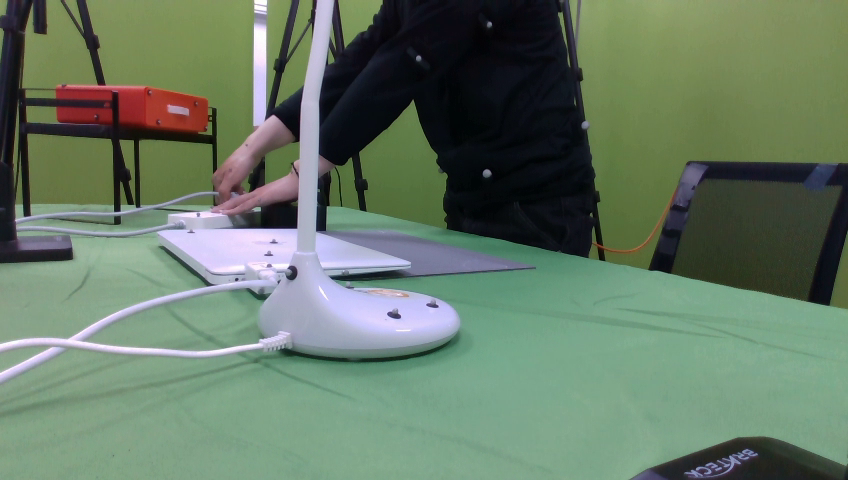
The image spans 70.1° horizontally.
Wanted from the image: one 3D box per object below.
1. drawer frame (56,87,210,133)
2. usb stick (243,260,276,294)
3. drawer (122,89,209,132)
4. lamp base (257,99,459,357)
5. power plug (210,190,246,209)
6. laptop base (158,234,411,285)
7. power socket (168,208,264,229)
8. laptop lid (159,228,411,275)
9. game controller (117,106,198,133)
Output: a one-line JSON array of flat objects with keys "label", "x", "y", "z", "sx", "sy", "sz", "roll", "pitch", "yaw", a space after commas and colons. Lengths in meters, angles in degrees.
[{"label": "drawer frame", "x": -0.598, "y": -0.269, "z": 1.261, "sx": 0.213, "sy": 0.082, "sz": 0.202, "roll": 4, "pitch": 8, "yaw": 14}, {"label": "usb stick", "x": -0.166, "y": 0.035, "z": 0.603, "sx": 0.021, "sy": 0.027, "sz": 0.059, "roll": -8, "pitch": 8, "yaw": -29}, {"label": "drawer", "x": -0.595, "y": -0.268, "z": 1.263, "sx": 0.211, "sy": 0.073, "sz": 0.195, "roll": 4, "pitch": 8, "yaw": 15}, {"label": "lamp base", "x": -0.055, "y": -0.014, "z": 0.463, "sx": 0.160, "sy": 0.180, "sz": 0.180, "roll": 6, "pitch": 11, "yaw": 27}, {"label": "power plug", "x": -0.387, "y": -0.072, "z": 1.205, "sx": 0.072, "sy": 0.052, "sz": 0.035, "roll": 7, "pitch": 8, "yaw": 27}, {"label": "laptop base", "x": -0.204, "y": 0.019, "z": 0.807, "sx": 0.237, "sy": 0.023, "sz": 0.352, "roll": 0, "pitch": 7, "yaw": -33}, {"label": "power socket", "x": -0.381, "y": -0.038, "z": 1.128, "sx": 0.072, "sy": 0.032, "sz": 0.227, "roll": 4, "pitch": 8, "yaw": 16}, {"label": "laptop lid", "x": -0.201, "y": 0.007, "z": 0.806, "sx": 0.243, "sy": 0.013, "sz": 0.355, "roll": -1, "pitch": 8, "yaw": -31}, {"label": "game controller", "x": -0.555, "y": -0.251, "z": 1.255, "sx": 0.097, "sy": 0.051, "sz": 0.155, "roll": 9, "pitch": 12, "yaw": 18}]
